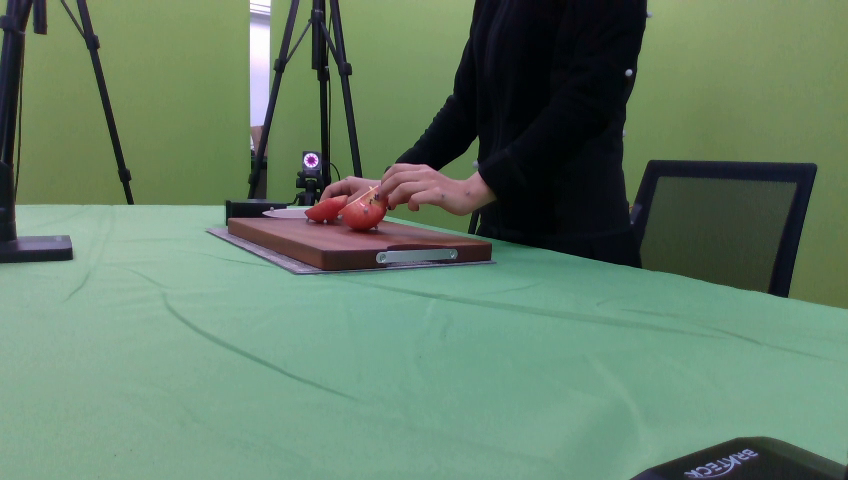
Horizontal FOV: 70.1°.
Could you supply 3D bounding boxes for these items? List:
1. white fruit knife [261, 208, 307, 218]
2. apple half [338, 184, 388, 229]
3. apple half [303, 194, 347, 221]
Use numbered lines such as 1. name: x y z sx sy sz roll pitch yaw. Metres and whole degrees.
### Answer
1. white fruit knife: -0.200 -0.053 1.116 0.208 0.027 0.016 -4 41 -35
2. apple half: -0.092 -0.046 0.959 0.081 0.053 0.074 -39 9 -34
3. apple half: -0.166 -0.051 1.051 0.081 0.033 0.081 -21 -2 0
